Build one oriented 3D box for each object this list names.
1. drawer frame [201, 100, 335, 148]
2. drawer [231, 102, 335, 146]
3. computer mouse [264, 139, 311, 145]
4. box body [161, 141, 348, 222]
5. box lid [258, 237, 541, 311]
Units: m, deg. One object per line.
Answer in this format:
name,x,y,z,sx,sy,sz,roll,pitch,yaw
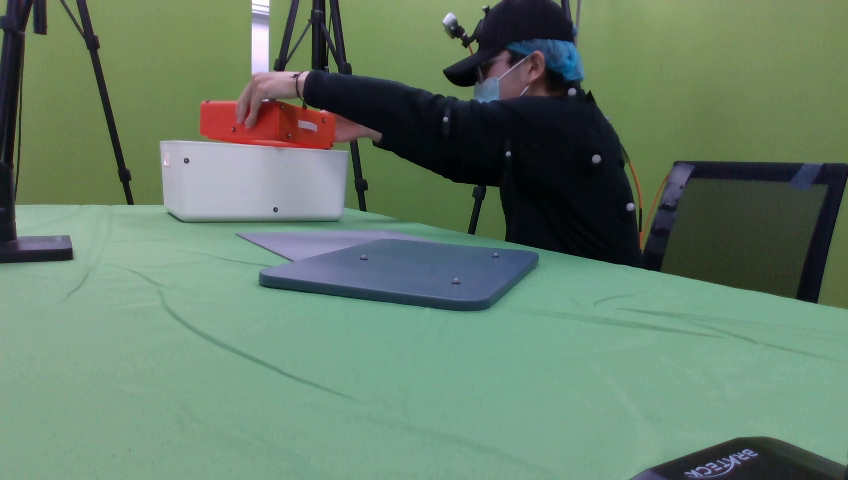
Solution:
drawer frame,-0.342,-0.254,1.339,0.213,0.082,0.202,5,4,26
drawer,-0.338,-0.252,1.338,0.211,0.073,0.195,4,5,26
computer mouse,-0.296,-0.229,1.310,0.062,0.041,0.117,1,0,18
box body,-0.379,-0.132,1.352,0.366,0.160,0.253,-2,8,-30
box lid,-0.004,0.033,0.773,0.262,0.015,0.372,5,8,19
